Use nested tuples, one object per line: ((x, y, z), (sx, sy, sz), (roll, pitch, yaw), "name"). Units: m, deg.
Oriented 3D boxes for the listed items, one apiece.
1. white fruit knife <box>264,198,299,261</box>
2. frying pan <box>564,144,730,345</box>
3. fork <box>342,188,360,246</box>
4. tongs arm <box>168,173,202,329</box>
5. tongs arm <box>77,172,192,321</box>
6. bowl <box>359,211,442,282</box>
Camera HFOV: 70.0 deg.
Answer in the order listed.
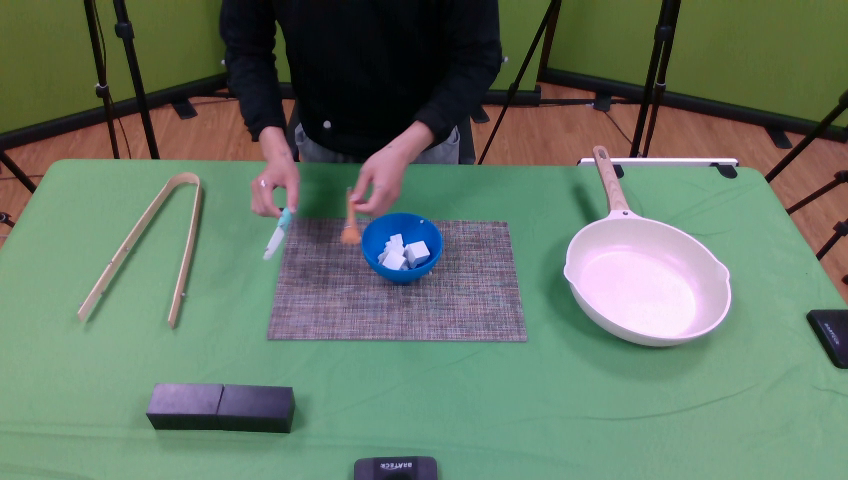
((-0.243, -0.022, 1.032), (0.016, 0.027, 0.206), (-13, 29, 9), "white fruit knife")
((0.396, -0.008, 1.179), (0.307, 0.103, 0.484), (0, 55, -5), "frying pan")
((-0.123, -0.043, 1.026), (0.028, 0.019, 0.206), (13, 30, -15), "fork")
((-0.454, 0.006, 1.153), (0.028, 0.028, 0.385), (-5, 47, -6), "tongs arm")
((-0.535, -0.002, 1.147), (0.051, 0.026, 0.382), (7, 45, 1), "tongs arm")
((-0.044, 0.026, 1.125), (0.151, 0.077, 0.150), (2, 46, -2), "bowl")
